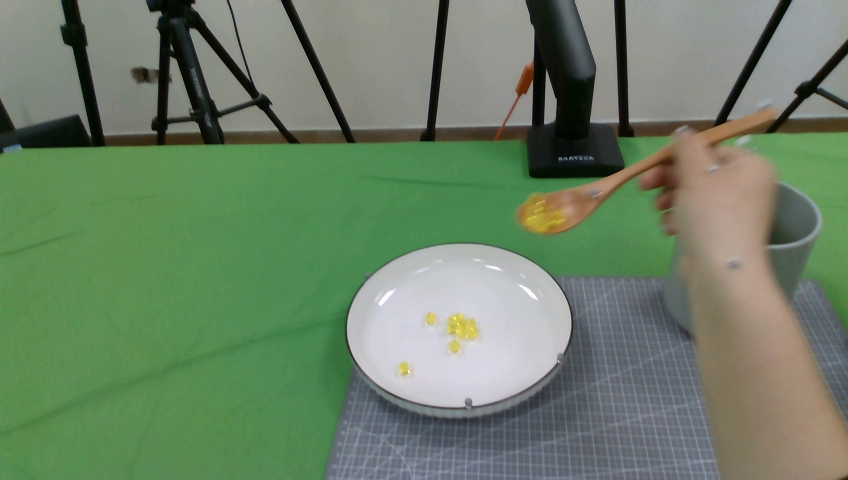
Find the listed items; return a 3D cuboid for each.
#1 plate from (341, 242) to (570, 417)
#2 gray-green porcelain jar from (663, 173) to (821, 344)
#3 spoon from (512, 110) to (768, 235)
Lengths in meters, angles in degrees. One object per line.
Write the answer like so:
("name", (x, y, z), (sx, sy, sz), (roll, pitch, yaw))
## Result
("plate", (0.029, 0.081, 0.564), (0.207, 0.039, 0.205), (-3, 39, 3))
("gray-green porcelain jar", (0.274, 0.021, 0.539), (0.106, 0.127, 0.105), (-3, 39, 3))
("spoon", (0.155, -0.050, 0.436), (0.194, 0.022, 0.041), (-26, 43, 7))
